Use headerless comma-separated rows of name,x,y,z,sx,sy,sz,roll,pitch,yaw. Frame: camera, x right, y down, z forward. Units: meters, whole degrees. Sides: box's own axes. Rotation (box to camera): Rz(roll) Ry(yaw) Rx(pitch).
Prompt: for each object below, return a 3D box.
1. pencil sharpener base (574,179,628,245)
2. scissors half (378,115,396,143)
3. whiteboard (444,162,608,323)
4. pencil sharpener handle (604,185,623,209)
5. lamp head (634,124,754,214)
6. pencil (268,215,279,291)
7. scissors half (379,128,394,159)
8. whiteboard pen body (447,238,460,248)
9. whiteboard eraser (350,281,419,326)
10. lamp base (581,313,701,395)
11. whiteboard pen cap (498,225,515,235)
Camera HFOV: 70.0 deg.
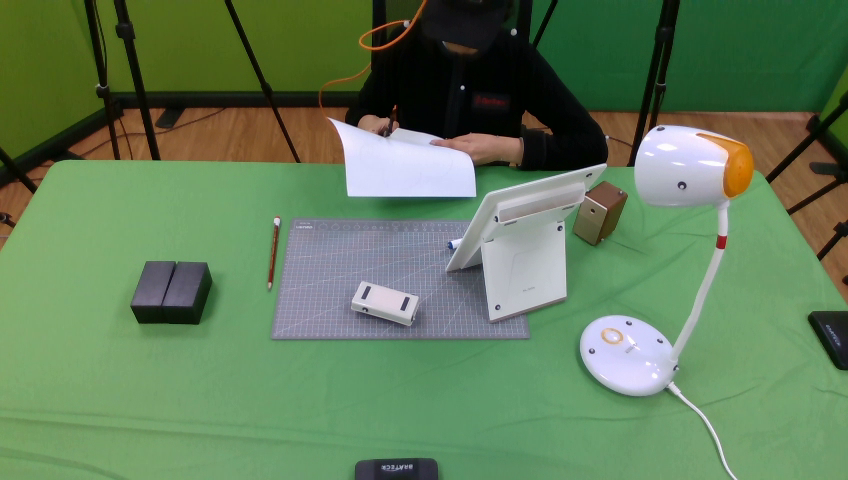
pencil sharpener base,0.355,-0.057,1.217,0.076,0.107,0.061,-33,56,-31
scissors half,-0.080,-0.232,1.289,0.013,0.040,0.174,2,26,7
whiteboard,0.186,0.025,1.029,0.217,0.306,0.143,-14,68,-18
pencil sharpener handle,0.390,-0.091,1.235,0.030,0.068,0.036,-33,69,-31
lamp head,0.351,-0.089,0.775,0.112,0.113,0.122,-30,30,-28
pencil,-0.291,0.022,1.164,0.012,0.012,0.192,-2,48,-6
scissors half,-0.082,-0.209,1.293,0.013,0.175,0.040,7,81,6
whiteboard pen body,0.112,-0.006,1.204,0.141,0.017,0.017,-14,49,-18
whiteboard eraser,-0.069,0.113,1.065,0.112,0.042,0.055,14,46,9
lamp base,0.361,0.144,0.972,0.178,0.181,0.160,34,53,23
whiteboard pen cap,0.166,-0.019,1.222,0.033,0.018,0.018,-14,49,-19
